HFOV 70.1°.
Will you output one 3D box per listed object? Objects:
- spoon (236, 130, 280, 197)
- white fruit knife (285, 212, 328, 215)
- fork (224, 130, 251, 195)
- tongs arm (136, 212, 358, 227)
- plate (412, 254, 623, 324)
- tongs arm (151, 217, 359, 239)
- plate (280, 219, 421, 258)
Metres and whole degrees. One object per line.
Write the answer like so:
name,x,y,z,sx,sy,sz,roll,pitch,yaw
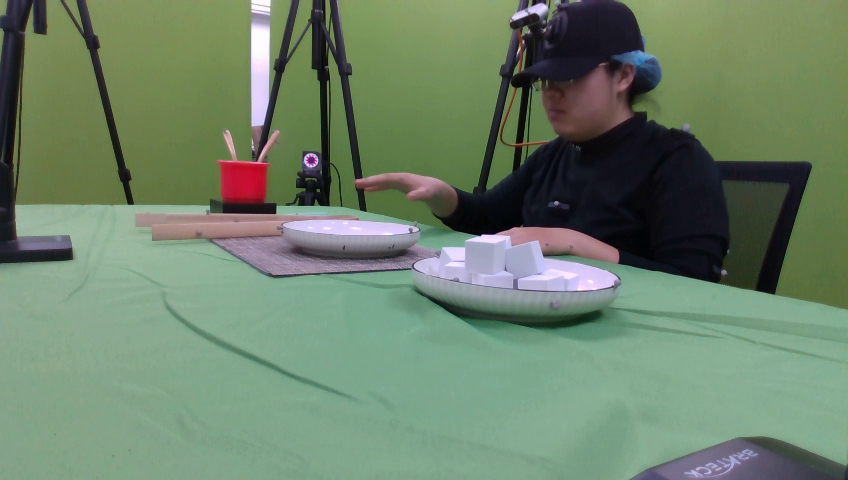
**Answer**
spoon,-0.321,-0.154,1.192,0.041,0.193,0.022,0,-37,19
white fruit knife,-0.304,-0.050,1.328,0.208,0.016,0.027,-3,-19,-29
fork,-0.372,-0.156,1.193,0.028,0.018,0.206,-17,54,-13
tongs arm,-0.308,-0.034,1.100,0.387,0.026,0.050,-1,6,-29
plate,0.091,0.047,0.609,0.209,0.038,0.209,2,7,0
tongs arm,-0.263,-0.023,1.032,0.390,0.028,0.028,-3,4,-42
plate,-0.108,-0.002,0.902,0.208,0.039,0.207,3,7,0
